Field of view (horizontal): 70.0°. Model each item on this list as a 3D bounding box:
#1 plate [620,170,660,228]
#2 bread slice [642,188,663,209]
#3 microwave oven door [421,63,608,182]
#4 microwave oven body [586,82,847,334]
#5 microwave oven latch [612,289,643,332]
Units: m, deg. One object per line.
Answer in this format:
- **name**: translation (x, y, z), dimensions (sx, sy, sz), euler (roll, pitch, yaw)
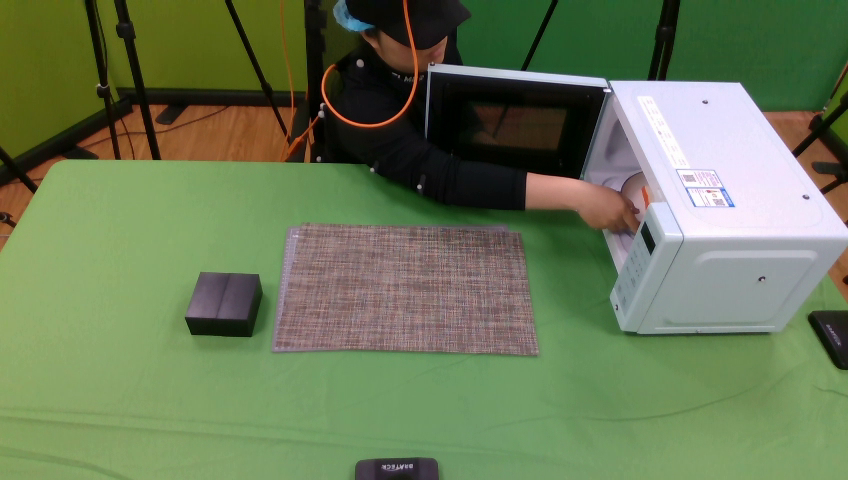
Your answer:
- **plate**: translation (0.489, -0.060, 1.193), dimensions (0.209, 0.038, 0.208), euler (2, 45, -2)
- **bread slice**: translation (0.493, -0.056, 1.196), dimensions (0.105, 0.019, 0.131), euler (6, 42, 3)
- **microwave oven door**: translation (0.178, -0.241, 1.268), dimensions (0.356, 0.245, 0.039), euler (5, 46, 1)
- **microwave oven body**: translation (0.501, -0.070, 1.132), dimensions (0.326, 0.261, 0.438), euler (-1, 45, -3)
- **microwave oven latch**: translation (0.357, 0.124, 1.068), dimensions (0.030, 0.029, 0.078), euler (0, 45, -3)
